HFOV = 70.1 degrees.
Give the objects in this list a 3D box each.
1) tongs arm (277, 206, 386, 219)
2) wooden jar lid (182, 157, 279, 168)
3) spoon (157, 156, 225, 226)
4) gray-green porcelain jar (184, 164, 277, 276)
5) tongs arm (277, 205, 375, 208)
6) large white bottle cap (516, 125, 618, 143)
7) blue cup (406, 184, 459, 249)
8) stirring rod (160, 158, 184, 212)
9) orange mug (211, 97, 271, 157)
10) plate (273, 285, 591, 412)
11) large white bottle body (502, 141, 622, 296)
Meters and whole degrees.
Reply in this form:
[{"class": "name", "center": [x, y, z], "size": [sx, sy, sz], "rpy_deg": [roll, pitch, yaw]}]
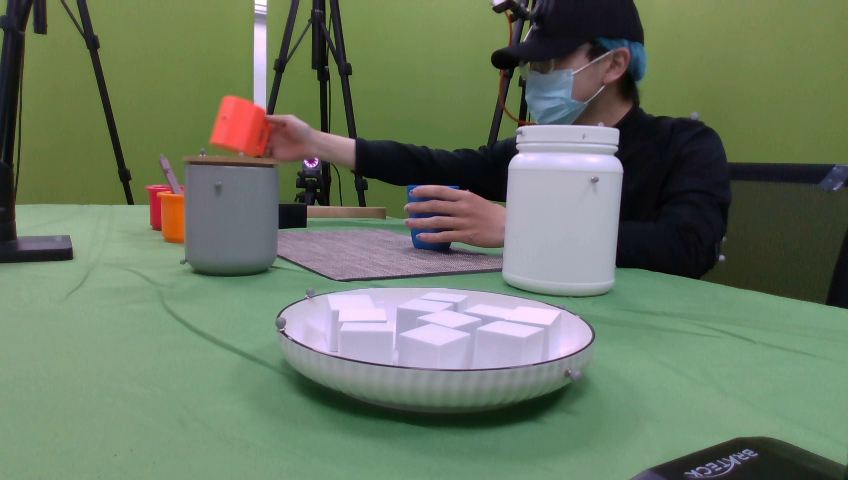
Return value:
[{"class": "tongs arm", "center": [-0.252, -0.062, 1.360], "size": [0.387, 0.026, 0.050], "rpy_deg": [-1, 4, -31]}, {"class": "wooden jar lid", "center": [-0.227, -0.086, 0.714], "size": [0.108, 0.020, 0.108], "rpy_deg": [1, 6, 0]}, {"class": "spoon", "center": [-0.425, -0.094, 1.117], "size": [0.041, 0.022, 0.194], "rpy_deg": [2, 50, 31]}, {"class": "gray-green porcelain jar", "center": [-0.230, -0.025, 0.722], "size": [0.106, 0.126, 0.106], "rpy_deg": [3, 7, 0]}, {"class": "tongs arm", "center": [-0.288, -0.070, 1.435], "size": [0.389, 0.027, 0.028], "rpy_deg": [1, 0, -17]}, {"class": "large white bottle cap", "center": [0.163, -0.120, 0.695], "size": [0.115, 0.018, 0.115], "rpy_deg": [2, 8, 0]}, {"class": "blue cup", "center": [0.014, -0.039, 0.971], "size": [0.093, 0.100, 0.092], "rpy_deg": [0, 7, 0]}, {"class": "stirring rod", "center": [-0.391, -0.070, 0.972], "size": [0.014, 0.006, 0.175], "rpy_deg": [-2, 50, -48]}, {"class": "orange mug", "center": [-0.365, -0.225, 1.236], "size": [0.083, 0.100, 0.127], "rpy_deg": [13, 0, 25]}, {"class": "plate", "center": [0.005, 0.069, 0.408], "size": [0.208, 0.039, 0.207], "rpy_deg": [2, 7, 0]}, {"class": "large white bottle body", "center": [0.161, -0.037, 0.706], "size": [0.131, 0.184, 0.130], "rpy_deg": [2, 7, 0]}]
